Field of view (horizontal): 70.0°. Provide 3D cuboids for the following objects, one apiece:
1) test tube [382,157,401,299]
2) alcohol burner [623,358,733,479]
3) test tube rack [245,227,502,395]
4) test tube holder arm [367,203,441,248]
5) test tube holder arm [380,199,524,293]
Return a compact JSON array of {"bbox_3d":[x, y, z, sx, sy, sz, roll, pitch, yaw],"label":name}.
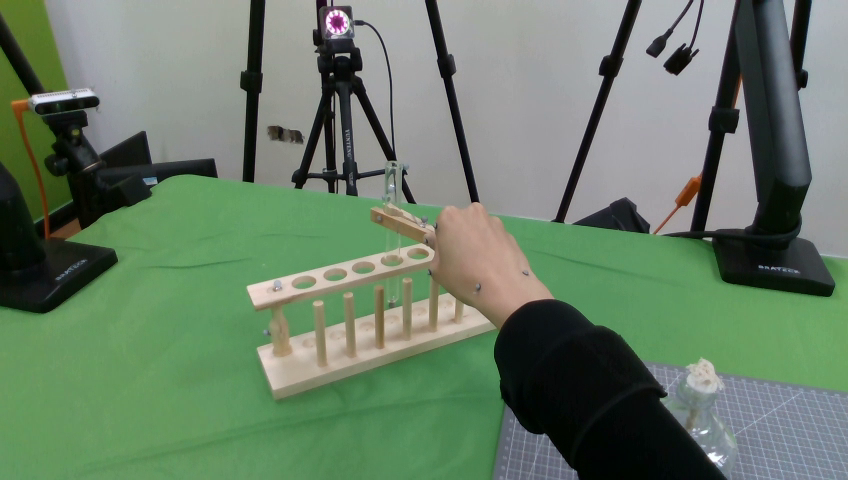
[{"bbox_3d":[-0.032,-0.007,0.577,0.017,0.151,0.017,2,30,-1],"label":"test tube"},{"bbox_3d":[0.190,0.132,0.446,0.078,0.120,0.077,1,32,0],"label":"alcohol burner"},{"bbox_3d":[-0.041,0.063,0.594,0.243,0.086,0.066,-14,34,-23],"label":"test tube rack"},{"bbox_3d":[-0.017,-0.014,0.550,0.087,0.015,0.010,23,37,32],"label":"test tube holder arm"},{"bbox_3d":[0.018,0.001,0.527,0.013,0.015,0.176,-24,39,-36],"label":"test tube holder arm"}]
